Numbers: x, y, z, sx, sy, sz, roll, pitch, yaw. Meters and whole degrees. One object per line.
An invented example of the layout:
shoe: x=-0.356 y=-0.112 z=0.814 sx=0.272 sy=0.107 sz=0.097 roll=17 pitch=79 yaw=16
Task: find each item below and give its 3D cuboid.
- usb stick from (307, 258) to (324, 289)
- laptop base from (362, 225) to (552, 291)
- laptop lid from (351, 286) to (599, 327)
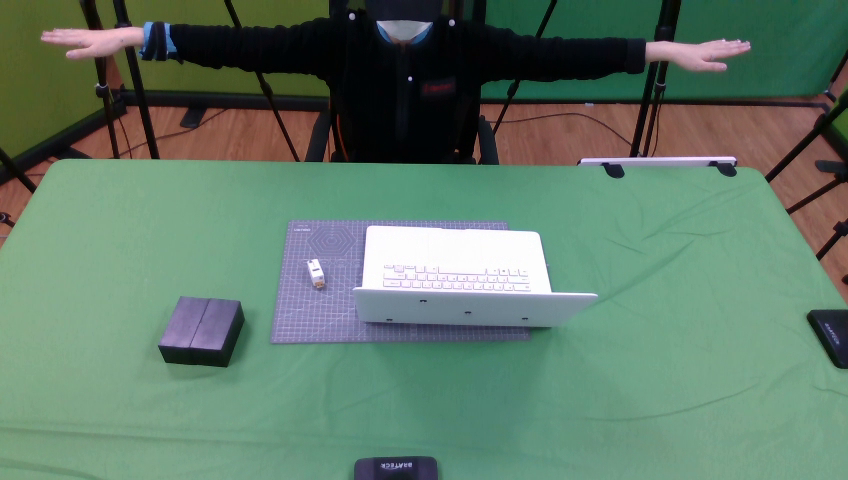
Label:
usb stick: x=-0.198 y=0.064 z=1.114 sx=0.021 sy=0.027 sz=0.059 roll=-13 pitch=51 yaw=-18
laptop base: x=0.061 y=0.063 z=1.145 sx=0.354 sy=0.023 sz=0.234 roll=2 pitch=43 yaw=-3
laptop lid: x=0.068 y=0.109 z=0.952 sx=0.357 sy=0.242 sz=0.013 roll=2 pitch=71 yaw=-4
